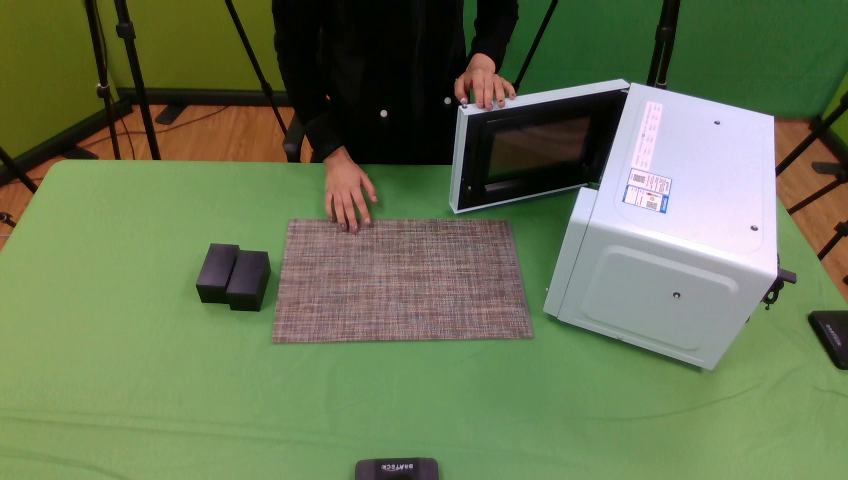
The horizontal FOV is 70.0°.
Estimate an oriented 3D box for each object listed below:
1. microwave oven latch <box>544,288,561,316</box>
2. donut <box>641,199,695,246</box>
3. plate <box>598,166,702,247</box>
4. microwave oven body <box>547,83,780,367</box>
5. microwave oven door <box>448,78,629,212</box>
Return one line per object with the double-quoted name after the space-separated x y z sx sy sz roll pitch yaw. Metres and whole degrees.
0.237 0.098 1.087 0.030 0.029 0.079 17 47 13 "microwave oven latch"
0.467 -0.034 1.160 0.099 0.048 0.098 -5 61 9 "donut"
0.432 -0.062 1.174 0.209 0.038 0.208 9 47 -10 "plate"
0.444 -0.041 1.101 0.325 0.261 0.440 17 47 13 "microwave oven body"
0.228 -0.190 1.221 0.356 0.245 0.039 -13 49 -16 "microwave oven door"
